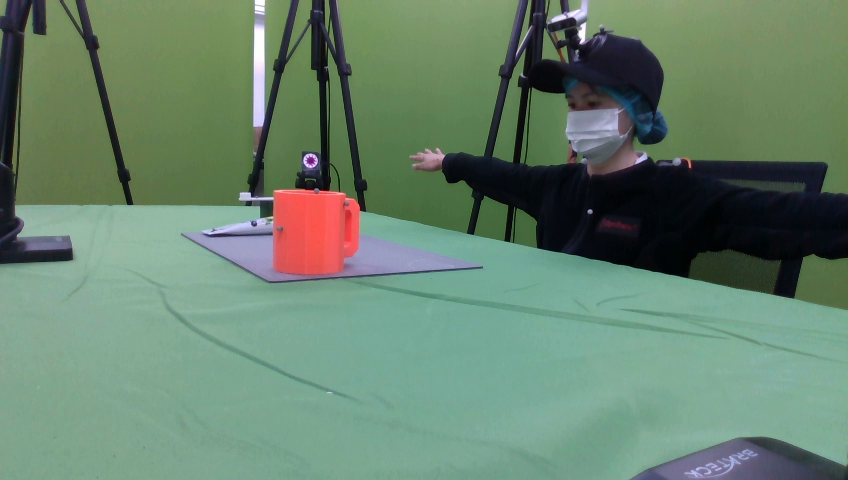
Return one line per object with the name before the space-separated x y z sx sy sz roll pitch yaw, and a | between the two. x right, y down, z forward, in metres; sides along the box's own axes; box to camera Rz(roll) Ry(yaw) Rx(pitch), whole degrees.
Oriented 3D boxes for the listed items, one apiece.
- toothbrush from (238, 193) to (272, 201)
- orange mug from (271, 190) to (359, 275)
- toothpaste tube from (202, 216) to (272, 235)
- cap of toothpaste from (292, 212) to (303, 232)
toothbrush | -0.286 -0.087 1.236 0.183 0.016 0.014 -1 3 -30
orange mug | -0.131 -0.013 0.754 0.083 0.101 0.127 8 13 38
toothpaste tube | -0.296 -0.023 1.053 0.166 0.034 0.055 -7 5 -34
cap of toothpaste | -0.229 -0.032 1.094 0.011 0.037 0.037 -7 12 -34
